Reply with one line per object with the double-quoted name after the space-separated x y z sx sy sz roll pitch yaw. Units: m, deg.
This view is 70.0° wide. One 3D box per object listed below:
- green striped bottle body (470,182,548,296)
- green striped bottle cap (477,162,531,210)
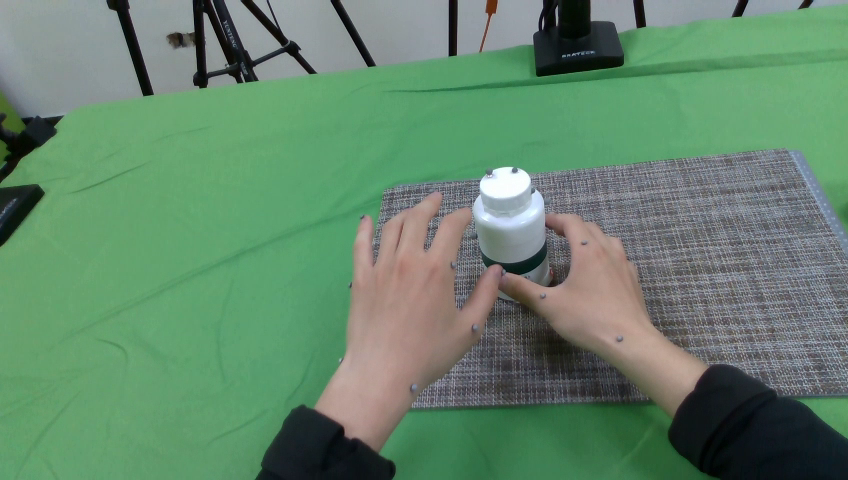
0.078 -0.009 0.549 0.063 0.120 0.062 -8 44 8 "green striped bottle body"
0.068 -0.046 0.513 0.044 0.020 0.044 -9 45 9 "green striped bottle cap"
